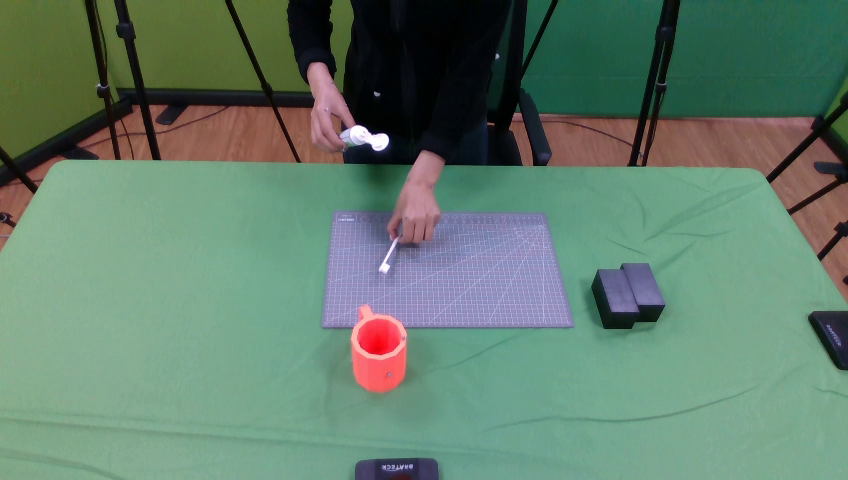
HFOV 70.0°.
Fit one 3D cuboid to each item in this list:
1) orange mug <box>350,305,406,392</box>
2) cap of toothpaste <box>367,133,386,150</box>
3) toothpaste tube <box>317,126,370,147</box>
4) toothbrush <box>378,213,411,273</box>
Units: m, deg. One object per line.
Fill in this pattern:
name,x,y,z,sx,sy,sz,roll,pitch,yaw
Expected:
orange mug,-0.080,0.168,0.978,0.083,0.101,0.125,-16,54,-18
cap of toothpaste,-0.085,-0.178,1.086,0.037,0.011,0.037,-10,63,21
toothpaste tube,-0.147,-0.191,1.148,0.055,0.034,0.164,6,-1,-32
toothbrush,-0.053,0.002,1.181,0.016,0.014,0.181,21,42,2
